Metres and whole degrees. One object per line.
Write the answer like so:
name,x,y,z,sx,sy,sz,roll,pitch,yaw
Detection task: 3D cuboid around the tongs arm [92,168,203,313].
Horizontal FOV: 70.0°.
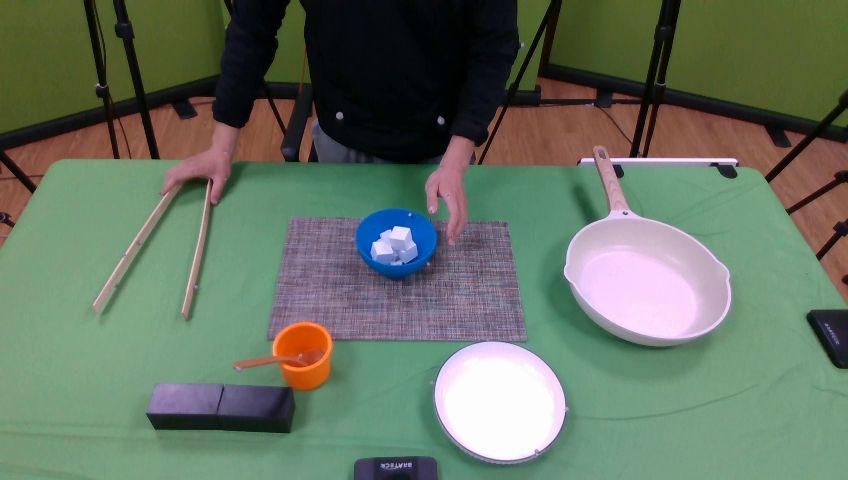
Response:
tongs arm,-0.517,-0.013,1.160,0.051,0.026,0.382,7,45,1

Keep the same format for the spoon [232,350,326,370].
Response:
spoon,-0.216,0.182,0.919,0.041,0.194,0.021,43,102,27

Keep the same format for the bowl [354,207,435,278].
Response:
bowl,-0.055,0.018,1.131,0.151,0.077,0.150,2,46,-2

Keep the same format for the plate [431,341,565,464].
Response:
plate,0.114,0.255,0.951,0.208,0.039,0.206,3,46,-2

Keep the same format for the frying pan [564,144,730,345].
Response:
frying pan,0.396,-0.008,1.179,0.307,0.103,0.484,0,55,-5

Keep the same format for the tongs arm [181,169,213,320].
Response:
tongs arm,-0.437,-0.006,1.165,0.028,0.028,0.385,-5,46,-5
